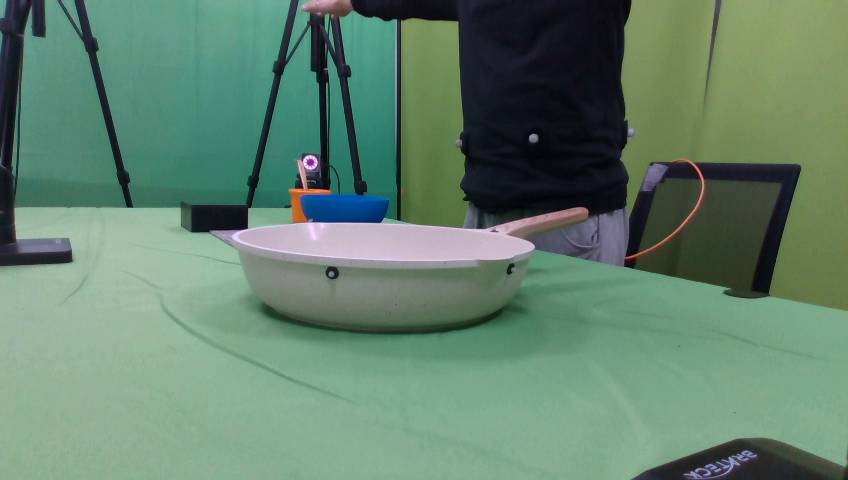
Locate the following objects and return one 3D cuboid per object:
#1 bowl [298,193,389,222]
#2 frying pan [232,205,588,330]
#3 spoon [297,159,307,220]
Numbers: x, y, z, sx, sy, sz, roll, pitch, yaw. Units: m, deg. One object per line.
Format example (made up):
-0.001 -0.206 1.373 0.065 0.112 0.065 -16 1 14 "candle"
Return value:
-0.136 -0.037 1.018 0.151 0.077 0.151 2 7 0 "bowl"
0.039 0.005 0.670 0.490 0.102 0.305 -15 17 -39 "frying pan"
-0.264 -0.114 1.338 0.042 0.193 0.021 0 -37 -21 "spoon"
